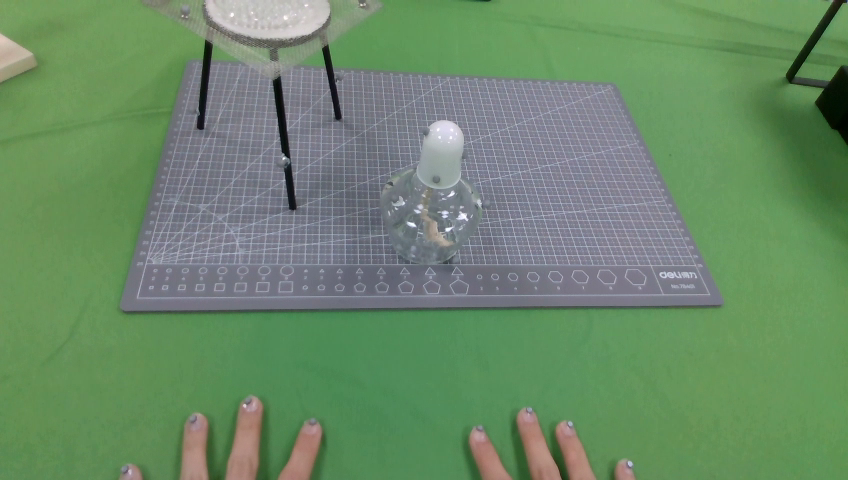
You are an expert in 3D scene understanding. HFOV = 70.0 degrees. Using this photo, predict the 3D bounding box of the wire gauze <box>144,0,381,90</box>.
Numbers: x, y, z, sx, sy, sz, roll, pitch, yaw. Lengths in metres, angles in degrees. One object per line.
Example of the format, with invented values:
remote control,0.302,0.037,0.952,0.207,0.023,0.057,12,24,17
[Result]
wire gauze,-0.113,-0.167,0.430,0.124,0.011,0.121,33,55,13

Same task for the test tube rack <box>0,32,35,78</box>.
test tube rack,-0.449,-0.138,0.468,0.066,0.086,0.241,31,51,16

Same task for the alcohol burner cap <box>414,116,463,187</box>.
alcohol burner cap,0.011,-0.063,0.415,0.034,0.048,0.033,3,54,-4

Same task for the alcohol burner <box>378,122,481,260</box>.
alcohol burner,0.007,-0.040,0.443,0.078,0.120,0.077,6,48,-7

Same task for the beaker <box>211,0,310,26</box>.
beaker,-0.111,-0.199,0.393,0.073,0.101,0.084,32,53,16

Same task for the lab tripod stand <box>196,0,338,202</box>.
lab tripod stand,-0.119,-0.125,0.480,0.149,0.132,0.147,6,50,-7
